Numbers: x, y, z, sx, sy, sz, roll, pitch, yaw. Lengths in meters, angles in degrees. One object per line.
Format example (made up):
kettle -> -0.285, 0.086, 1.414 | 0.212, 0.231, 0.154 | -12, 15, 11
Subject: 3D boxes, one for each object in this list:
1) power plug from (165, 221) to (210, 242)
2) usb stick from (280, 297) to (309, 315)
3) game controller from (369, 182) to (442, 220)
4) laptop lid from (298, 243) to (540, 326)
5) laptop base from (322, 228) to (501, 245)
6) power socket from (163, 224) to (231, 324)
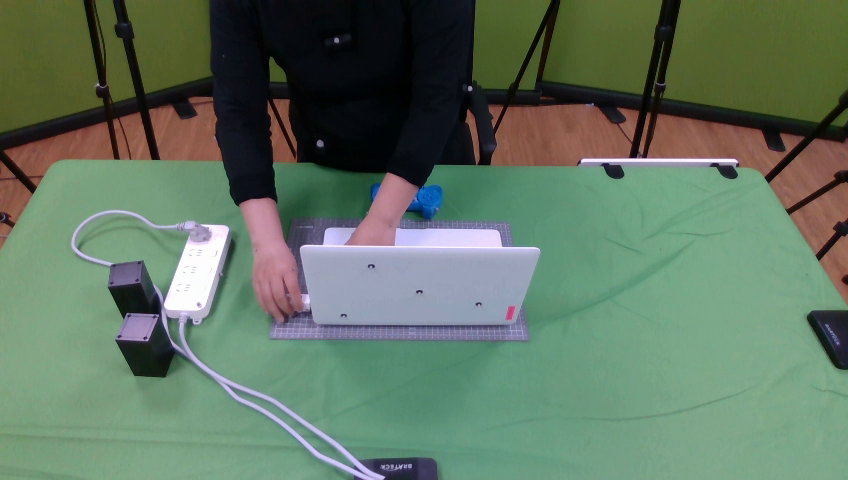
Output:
power plug -> -0.441, -0.014, 1.142 | 0.072, 0.053, 0.035 | 7, 46, 8
usb stick -> -0.219, 0.116, 1.063 | 0.059, 0.027, 0.021 | -1, 36, 16
game controller -> -0.039, -0.090, 1.266 | 0.155, 0.052, 0.096 | 1, 50, -2
laptop lid -> -0.010, 0.078, 0.957 | 0.357, 0.243, 0.013 | 1, 53, -5
laptop base -> -0.020, 0.065, 1.135 | 0.355, 0.023, 0.234 | 1, 42, -4
power socket -> -0.410, 0.053, 1.105 | 0.072, 0.033, 0.225 | 3, 46, -3
